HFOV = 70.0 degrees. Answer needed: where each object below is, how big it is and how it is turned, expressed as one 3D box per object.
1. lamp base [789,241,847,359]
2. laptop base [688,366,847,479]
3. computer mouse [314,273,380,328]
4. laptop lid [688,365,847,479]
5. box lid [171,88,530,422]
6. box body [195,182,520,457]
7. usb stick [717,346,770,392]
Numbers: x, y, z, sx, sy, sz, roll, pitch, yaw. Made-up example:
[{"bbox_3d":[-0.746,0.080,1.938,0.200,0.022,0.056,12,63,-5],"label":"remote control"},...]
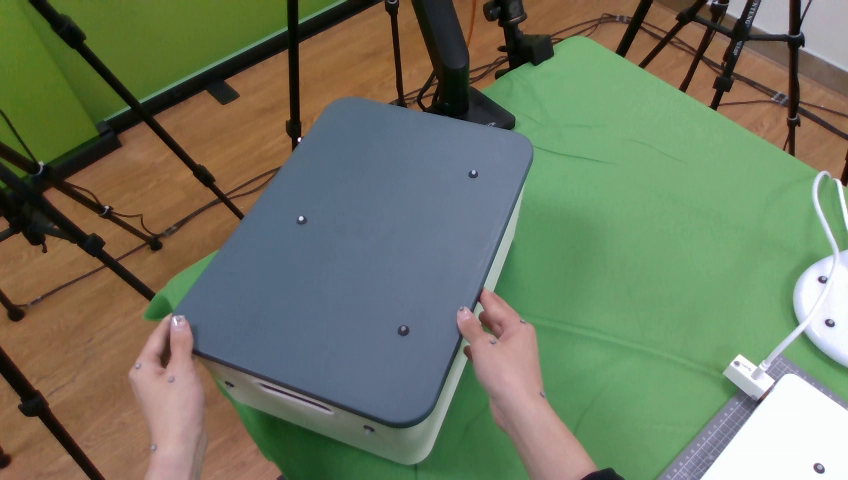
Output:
[{"bbox_3d":[0.517,0.022,0.661,0.160,0.182,0.177,7,52,7],"label":"lamp base"},{"bbox_3d":[0.431,0.306,0.557,0.235,0.023,0.351,-40,62,-20],"label":"laptop base"},{"bbox_3d":[-0.091,0.066,0.724,0.063,0.041,0.116,-9,14,6],"label":"computer mouse"},{"bbox_3d":[0.428,0.301,0.547,0.241,0.013,0.353,-38,61,-20],"label":"laptop lid"},{"bbox_3d":[-0.057,-0.018,0.628,0.262,0.015,0.369,16,57,13],"label":"box lid"},{"bbox_3d":[-0.056,0.028,0.688,0.253,0.162,0.362,16,56,13],"label":"box body"},{"bbox_3d":[0.354,0.146,0.661,0.021,0.027,0.058,-32,62,-25],"label":"usb stick"}]
